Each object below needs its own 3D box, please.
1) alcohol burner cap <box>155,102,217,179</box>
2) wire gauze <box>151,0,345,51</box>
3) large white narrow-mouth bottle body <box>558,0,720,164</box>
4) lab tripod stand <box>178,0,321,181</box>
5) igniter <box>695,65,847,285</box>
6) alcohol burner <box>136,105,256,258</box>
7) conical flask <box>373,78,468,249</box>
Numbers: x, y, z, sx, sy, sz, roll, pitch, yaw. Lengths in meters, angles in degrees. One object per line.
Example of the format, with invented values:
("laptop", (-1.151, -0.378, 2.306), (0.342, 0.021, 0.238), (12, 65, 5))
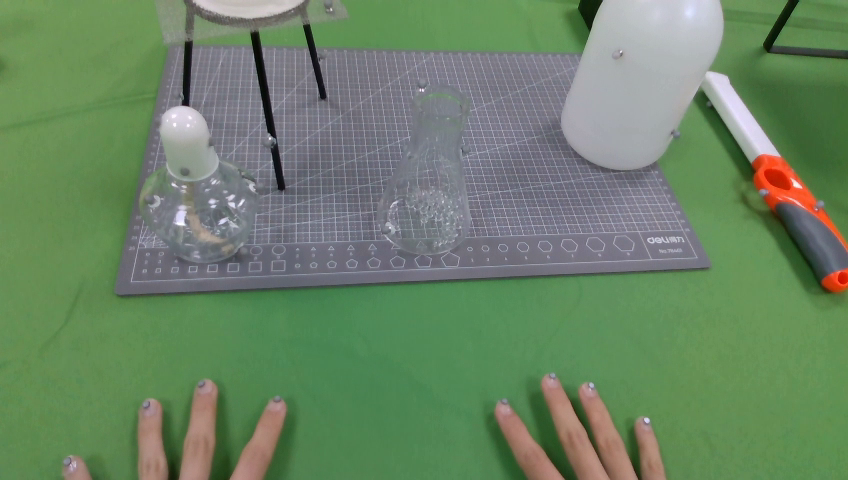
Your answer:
("alcohol burner cap", (-0.150, -0.064, 0.379), (0.034, 0.048, 0.033), (4, 56, -6))
("wire gauze", (-0.131, -0.184, 0.428), (0.122, 0.011, 0.124), (-15, 59, -17))
("large white narrow-mouth bottle body", (0.183, -0.163, 0.504), (0.102, 0.196, 0.101), (4, 51, -4))
("lab tripod stand", (-0.134, -0.141, 0.478), (0.149, 0.132, 0.147), (5, 51, -6))
("igniter", (0.318, -0.072, 0.563), (0.057, 0.025, 0.273), (6, 50, -18))
("alcohol burner", (-0.155, -0.043, 0.408), (0.078, 0.120, 0.077), (6, 49, -6))
("conical flask", (0.003, -0.056, 0.437), (0.075, 0.123, 0.074), (4, 51, -5))
